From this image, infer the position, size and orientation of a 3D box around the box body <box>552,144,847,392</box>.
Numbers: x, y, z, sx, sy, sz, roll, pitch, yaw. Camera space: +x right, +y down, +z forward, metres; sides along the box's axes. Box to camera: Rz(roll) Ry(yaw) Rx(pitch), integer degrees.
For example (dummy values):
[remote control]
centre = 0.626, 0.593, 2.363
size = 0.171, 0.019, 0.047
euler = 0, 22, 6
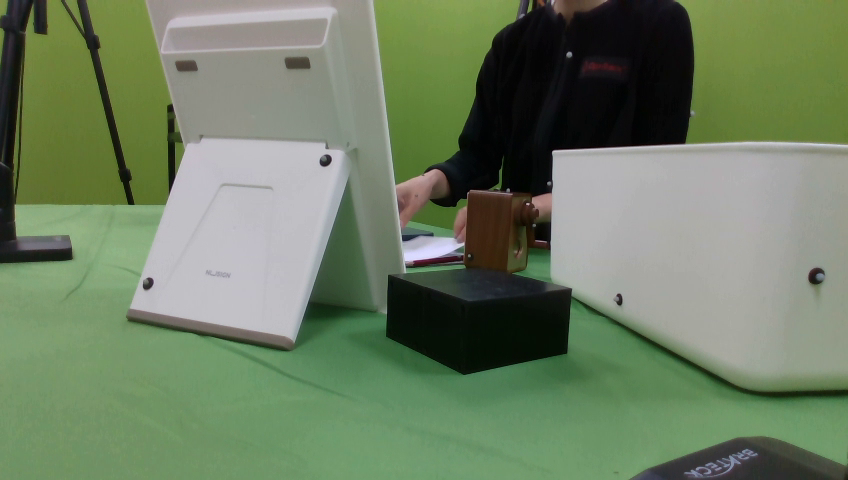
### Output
[box body]
centre = 0.290, 0.002, 0.549
size = 0.255, 0.160, 0.363
euler = 2, 7, -10

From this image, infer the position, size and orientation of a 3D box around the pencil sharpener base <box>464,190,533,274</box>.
[pencil sharpener base]
centre = 0.103, -0.012, 0.813
size = 0.076, 0.107, 0.061
euler = 8, 9, 36

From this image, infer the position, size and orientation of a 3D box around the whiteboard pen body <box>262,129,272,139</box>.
[whiteboard pen body]
centre = -0.361, -0.245, 1.393
size = 0.017, 0.017, 0.140
euler = 0, 5, -20

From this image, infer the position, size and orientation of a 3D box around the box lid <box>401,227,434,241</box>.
[box lid]
centre = -0.196, -0.015, 1.105
size = 0.373, 0.015, 0.262
euler = -1, 7, -32

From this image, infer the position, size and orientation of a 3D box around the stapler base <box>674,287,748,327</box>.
[stapler base]
centre = 0.281, 0.061, 0.586
size = 0.041, 0.024, 0.131
euler = 11, 9, 37

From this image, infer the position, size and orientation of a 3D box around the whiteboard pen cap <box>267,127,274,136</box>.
[whiteboard pen cap]
centre = -0.340, -0.239, 1.337
size = 0.018, 0.018, 0.033
euler = 1, -1, -14

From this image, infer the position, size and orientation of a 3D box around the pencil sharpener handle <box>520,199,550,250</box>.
[pencil sharpener handle]
centre = 0.147, -0.019, 0.785
size = 0.030, 0.068, 0.036
euler = 8, 25, 36

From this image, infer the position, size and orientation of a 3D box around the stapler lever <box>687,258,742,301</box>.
[stapler lever]
centre = 0.283, 0.035, 0.585
size = 0.026, 0.040, 0.119
euler = 11, 8, 37

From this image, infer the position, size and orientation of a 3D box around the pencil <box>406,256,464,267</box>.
[pencil]
centre = 0.041, 0.028, 0.850
size = 0.195, 0.012, 0.012
euler = -5, 10, -44

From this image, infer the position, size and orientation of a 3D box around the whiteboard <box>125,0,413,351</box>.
[whiteboard]
centre = -0.151, -0.050, 0.471
size = 0.216, 0.305, 0.144
euler = 6, 27, 24

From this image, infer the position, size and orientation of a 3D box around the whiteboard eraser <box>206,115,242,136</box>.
[whiteboard eraser]
centre = -0.438, -0.249, 1.320
size = 0.056, 0.042, 0.112
euler = -3, 9, -30
